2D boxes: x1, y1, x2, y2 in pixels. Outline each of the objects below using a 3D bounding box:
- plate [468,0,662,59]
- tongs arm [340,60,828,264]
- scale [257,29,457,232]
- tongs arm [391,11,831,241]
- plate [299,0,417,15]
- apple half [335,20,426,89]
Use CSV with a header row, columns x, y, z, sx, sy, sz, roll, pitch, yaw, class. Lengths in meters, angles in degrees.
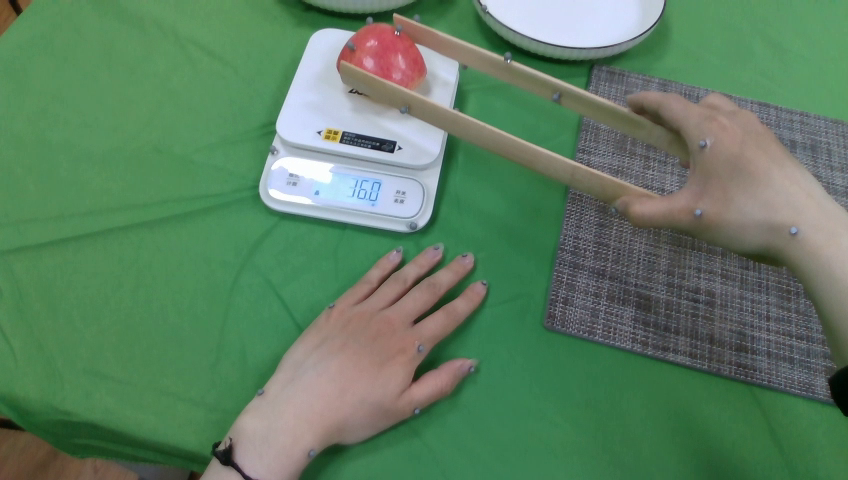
x,y,z,sx,sy,sz,roll,pitch,yaw,class
0.146,-0.264,0.649,0.209,0.038,0.207,2,59,-3,plate
0.098,-0.066,0.463,0.385,0.028,0.028,25,57,16,tongs arm
-0.055,-0.105,0.546,0.148,0.032,0.199,10,60,2,scale
0.123,-0.098,0.483,0.382,0.027,0.050,27,61,17,tongs arm
-0.073,-0.315,0.665,0.208,0.039,0.206,2,60,-2,plate
-0.035,-0.165,0.526,0.081,0.033,0.080,2,61,-4,apple half
